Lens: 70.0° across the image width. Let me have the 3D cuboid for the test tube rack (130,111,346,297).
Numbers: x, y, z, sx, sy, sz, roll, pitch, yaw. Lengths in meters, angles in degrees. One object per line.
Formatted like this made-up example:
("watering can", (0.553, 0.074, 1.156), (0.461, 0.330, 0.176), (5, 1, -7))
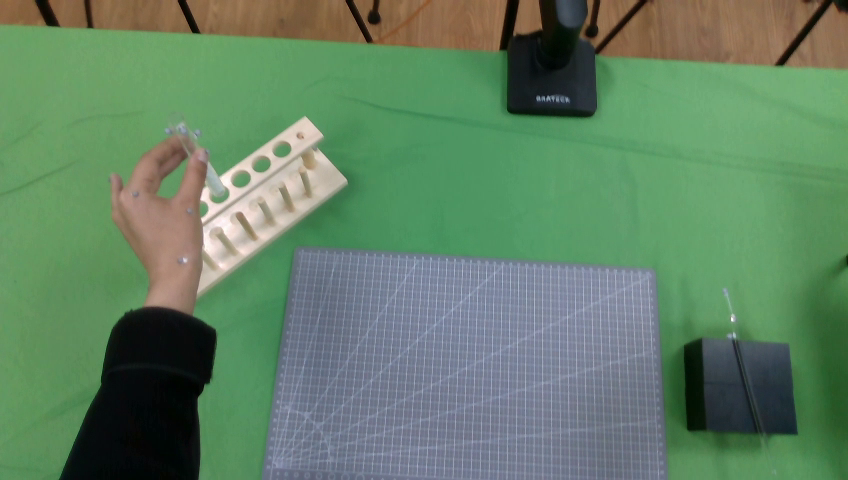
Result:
("test tube rack", (-0.212, -0.042, 0.723), (0.242, 0.085, 0.066), (-40, 76, -13))

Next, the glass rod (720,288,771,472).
("glass rod", (0.353, 0.150, 0.667), (0.008, 0.008, 0.198), (-5, 73, -3))

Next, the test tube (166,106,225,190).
("test tube", (-0.219, -0.085, 0.591), (0.017, 0.151, 0.017), (1, 70, -3))
